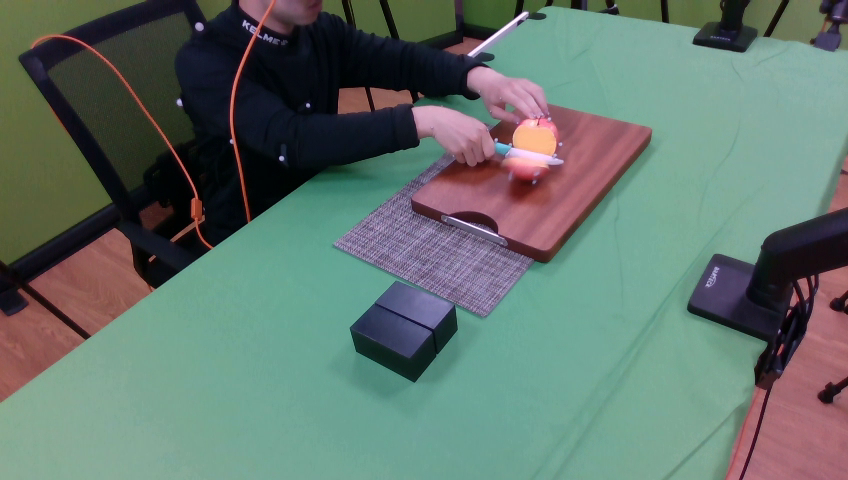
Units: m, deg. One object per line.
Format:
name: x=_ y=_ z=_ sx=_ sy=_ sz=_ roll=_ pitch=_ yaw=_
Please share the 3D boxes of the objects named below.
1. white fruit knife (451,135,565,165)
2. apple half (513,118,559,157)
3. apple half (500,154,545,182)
white fruit knife: x=0.145 y=-0.157 z=1.064 sx=0.206 sy=0.027 sz=0.016 roll=14 pitch=42 yaw=15
apple half: x=0.201 y=-0.179 z=1.067 sx=0.080 sy=0.075 sz=0.053 roll=8 pitch=37 yaw=23
apple half: x=0.169 y=-0.117 z=1.014 sx=0.081 sy=0.033 sz=0.081 roll=-10 pitch=24 yaw=5
